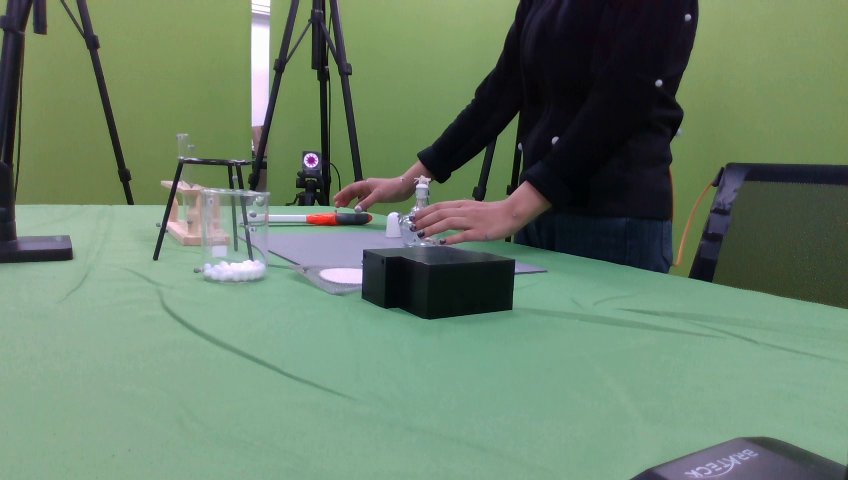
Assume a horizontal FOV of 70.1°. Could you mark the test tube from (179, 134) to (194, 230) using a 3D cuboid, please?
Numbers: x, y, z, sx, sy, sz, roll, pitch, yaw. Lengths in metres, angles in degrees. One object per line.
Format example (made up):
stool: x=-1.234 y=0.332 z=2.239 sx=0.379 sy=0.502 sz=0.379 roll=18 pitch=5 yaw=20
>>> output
test tube: x=-0.366 y=-0.089 z=0.938 sx=0.017 sy=0.150 sz=0.017 roll=-1 pitch=9 yaw=1

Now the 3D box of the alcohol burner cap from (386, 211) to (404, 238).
alcohol burner cap: x=-0.053 y=-0.029 z=1.107 sx=0.034 sy=0.048 sz=0.034 roll=2 pitch=8 yaw=0

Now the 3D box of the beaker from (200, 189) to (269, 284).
beaker: x=-0.209 y=-0.006 z=0.676 sx=0.073 sy=0.100 sz=0.084 roll=7 pitch=8 yaw=28

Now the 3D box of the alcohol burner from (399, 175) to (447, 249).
alcohol burner: x=-0.002 y=-0.046 z=0.973 sx=0.078 sy=0.119 sz=0.078 roll=0 pitch=7 yaw=0

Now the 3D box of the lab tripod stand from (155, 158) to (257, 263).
lab tripod stand: x=-0.275 y=-0.041 z=0.797 sx=0.148 sy=0.131 sz=0.148 roll=2 pitch=9 yaw=0

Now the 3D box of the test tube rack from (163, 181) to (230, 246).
test tube rack: x=-0.387 y=-0.050 z=1.015 sx=0.067 sy=0.085 sz=0.241 roll=-2 pitch=9 yaw=-30

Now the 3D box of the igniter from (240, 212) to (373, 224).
igniter: x=-0.237 y=-0.045 z=1.250 sx=0.278 sy=0.025 sz=0.057 roll=-2 pitch=-2 yaw=-31

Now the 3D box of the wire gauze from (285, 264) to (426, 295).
wire gauze: x=-0.079 y=0.039 z=0.692 sx=0.122 sy=0.011 sz=0.124 roll=-4 pitch=11 yaw=-37
